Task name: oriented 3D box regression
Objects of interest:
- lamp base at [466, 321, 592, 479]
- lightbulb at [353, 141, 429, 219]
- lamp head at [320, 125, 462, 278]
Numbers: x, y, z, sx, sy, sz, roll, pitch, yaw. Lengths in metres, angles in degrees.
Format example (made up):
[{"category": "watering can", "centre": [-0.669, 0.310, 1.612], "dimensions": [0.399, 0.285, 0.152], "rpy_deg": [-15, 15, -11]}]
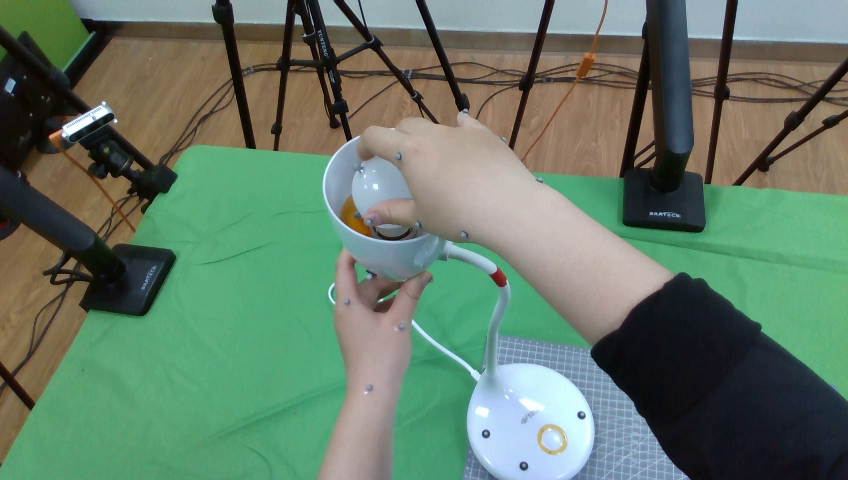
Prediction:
[{"category": "lamp base", "centre": [0.114, 0.176, 0.717], "dimensions": [0.177, 0.182, 0.160], "rpy_deg": [30, 63, 28]}, {"category": "lightbulb", "centre": [-0.023, -0.040, 0.494], "dimensions": [0.059, 0.108, 0.059], "rpy_deg": [-1, 74, 5]}, {"category": "lamp head", "centre": [-0.022, -0.019, 0.516], "dimensions": [0.112, 0.124, 0.111], "rpy_deg": [-2, 58, 4]}]
